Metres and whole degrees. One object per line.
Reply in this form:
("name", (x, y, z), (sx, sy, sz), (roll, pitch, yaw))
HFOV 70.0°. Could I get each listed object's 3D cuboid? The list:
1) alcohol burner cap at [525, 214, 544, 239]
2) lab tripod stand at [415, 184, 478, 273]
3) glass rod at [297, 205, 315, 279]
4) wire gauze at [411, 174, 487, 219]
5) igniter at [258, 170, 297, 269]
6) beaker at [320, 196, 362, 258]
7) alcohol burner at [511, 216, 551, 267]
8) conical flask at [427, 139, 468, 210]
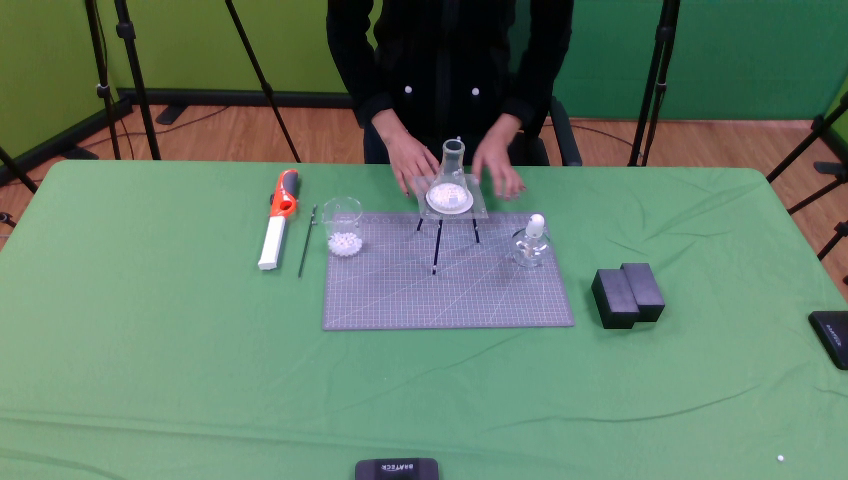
("alcohol burner cap", (0.208, -0.027, 1.125), (0.034, 0.048, 0.033), (1, 54, -1))
("lab tripod stand", (0.042, -0.031, 1.152), (0.148, 0.132, 0.147), (3, 44, -3))
("glass rod", (-0.231, 0.000, 1.191), (0.008, 0.008, 0.198), (2, 46, -1))
("wire gauze", (0.045, -0.079, 1.107), (0.125, 0.011, 0.120), (-4, 44, -6))
("igniter", (-0.294, -0.050, 1.220), (0.057, 0.025, 0.274), (-5, 45, 4))
("beaker", (-0.156, -0.021, 1.150), (0.084, 0.101, 0.073), (-30, 55, -28))
("alcohol burner", (0.206, -0.004, 1.153), (0.078, 0.120, 0.077), (2, 48, -2))
("conical flask", (0.046, -0.117, 1.061), (0.075, 0.122, 0.075), (3, 46, -2))
